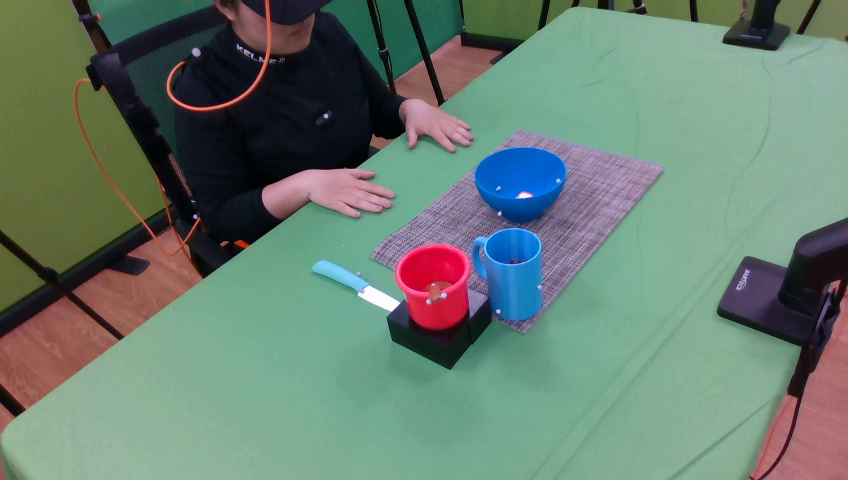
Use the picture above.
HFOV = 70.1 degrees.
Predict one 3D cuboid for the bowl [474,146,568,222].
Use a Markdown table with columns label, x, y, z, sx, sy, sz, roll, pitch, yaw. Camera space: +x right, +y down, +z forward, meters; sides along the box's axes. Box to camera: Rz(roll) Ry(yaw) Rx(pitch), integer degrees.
| label | x | y | z | sx | sy | sz | roll | pitch | yaw |
| --- | --- | --- | --- | --- | --- | --- | --- | --- | --- |
| bowl | 0.161 | -0.083 | 1.001 | 0.151 | 0.077 | 0.150 | -5 | 40 | 5 |

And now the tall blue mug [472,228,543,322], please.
| label | x | y | z | sx | sy | sz | roll | pitch | yaw |
| --- | --- | --- | --- | --- | --- | --- | --- | --- | --- |
| tall blue mug | 0.110 | 0.046 | 0.832 | 0.107 | 0.108 | 0.077 | 6 | 43 | 18 |

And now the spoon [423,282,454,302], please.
| label | x | y | z | sx | sy | sz | roll | pitch | yaw |
| --- | --- | --- | --- | --- | --- | --- | --- | --- | --- |
| spoon | 0.015 | 0.062 | 0.733 | 0.041 | 0.021 | 0.194 | -6 | -4 | 3 |

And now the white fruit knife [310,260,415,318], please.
| label | x | y | z | sx | sy | sz | roll | pitch | yaw |
| --- | --- | --- | --- | --- | --- | --- | --- | --- | --- |
| white fruit knife | -0.094 | 0.074 | 0.920 | 0.206 | 0.016 | 0.027 | 24 | 77 | 31 |
